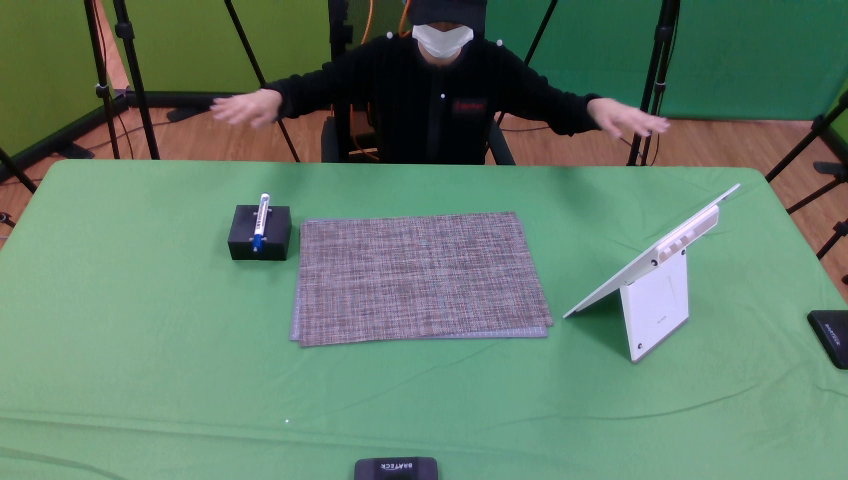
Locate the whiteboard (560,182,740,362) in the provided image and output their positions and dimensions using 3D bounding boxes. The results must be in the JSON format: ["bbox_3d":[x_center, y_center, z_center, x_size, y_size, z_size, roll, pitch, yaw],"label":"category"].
[{"bbox_3d":[0.406,0.075,1.001,0.217,0.306,0.143,-28,73,-28],"label":"whiteboard"}]

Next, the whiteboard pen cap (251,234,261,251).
[{"bbox_3d":[-0.305,0.003,1.103,0.018,0.018,0.033,-2,47,-6],"label":"whiteboard pen cap"}]

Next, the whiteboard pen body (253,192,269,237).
[{"bbox_3d":[-0.309,-0.040,1.146,0.017,0.017,0.140,0,46,-5],"label":"whiteboard pen body"}]
